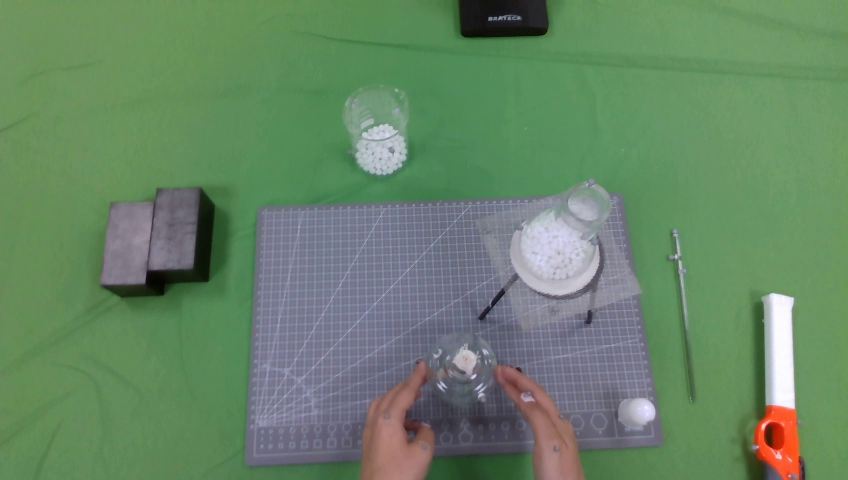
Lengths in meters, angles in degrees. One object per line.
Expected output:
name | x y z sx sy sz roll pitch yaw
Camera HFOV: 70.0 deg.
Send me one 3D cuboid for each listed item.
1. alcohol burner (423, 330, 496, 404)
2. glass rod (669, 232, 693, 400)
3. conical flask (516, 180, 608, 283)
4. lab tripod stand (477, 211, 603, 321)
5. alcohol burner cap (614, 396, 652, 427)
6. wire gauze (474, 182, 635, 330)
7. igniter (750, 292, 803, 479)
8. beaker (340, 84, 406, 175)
alcohol burner | 0.038 0.129 0.627 0.078 0.120 0.077 1 72 -2
glass rod | 0.298 0.084 0.706 0.008 0.008 0.198 2 70 0
conical flask | 0.127 -0.011 0.534 0.075 0.122 0.075 0 73 -1
lab tripod stand | 0.127 0.038 0.650 0.148 0.132 0.147 0 72 0
alcohol burner cap | 0.226 0.182 0.649 0.034 0.048 0.033 1 71 -2
wire gauze | 0.126 0.014 0.588 0.125 0.011 0.120 -17 75 -9
igniter | 0.383 0.192 0.660 0.057 0.025 0.275 13 71 -7
beaker | -0.055 -0.129 0.726 0.084 0.101 0.073 -42 76 -14
